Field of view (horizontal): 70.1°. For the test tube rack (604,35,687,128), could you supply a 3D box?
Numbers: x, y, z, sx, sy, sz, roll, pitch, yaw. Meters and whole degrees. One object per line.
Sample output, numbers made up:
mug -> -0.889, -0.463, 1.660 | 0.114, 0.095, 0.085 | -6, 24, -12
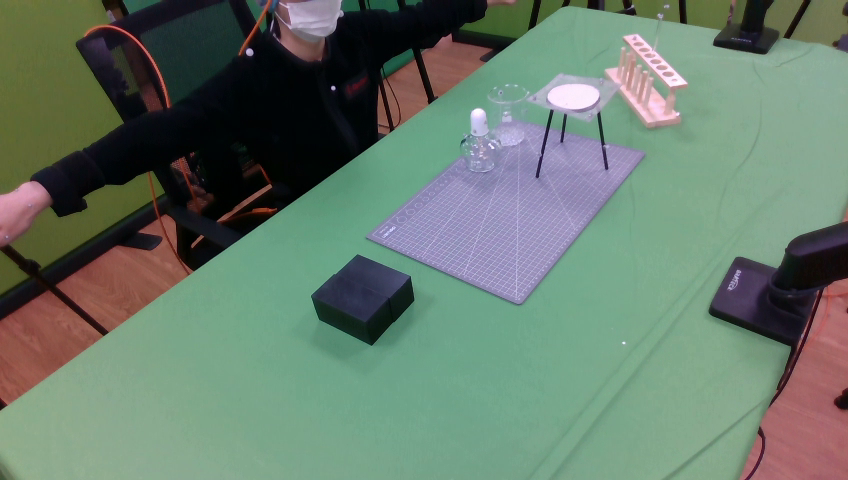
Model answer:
test tube rack -> 0.447, -0.330, 1.241 | 0.067, 0.085, 0.241 | -9, 41, -2

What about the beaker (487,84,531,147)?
beaker -> 0.163, -0.237, 1.161 | 0.084, 0.101, 0.073 | -10, 41, -3

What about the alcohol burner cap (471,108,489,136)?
alcohol burner cap -> 0.098, -0.211, 1.074 | 0.034, 0.048, 0.033 | -6, 41, 6

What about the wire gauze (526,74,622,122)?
wire gauze -> 0.255, -0.248, 1.030 | 0.124, 0.011, 0.122 | 24, 51, 32

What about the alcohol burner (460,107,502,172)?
alcohol burner -> 0.102, -0.185, 1.098 | 0.078, 0.119, 0.077 | -6, 40, 5

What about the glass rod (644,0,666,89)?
glass rod -> 0.465, -0.397, 1.215 | 0.008, 0.200, 0.008 | 0, 39, 1

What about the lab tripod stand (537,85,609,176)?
lab tripod stand -> 0.259, -0.192, 1.068 | 0.148, 0.132, 0.147 | -4, 42, 4
